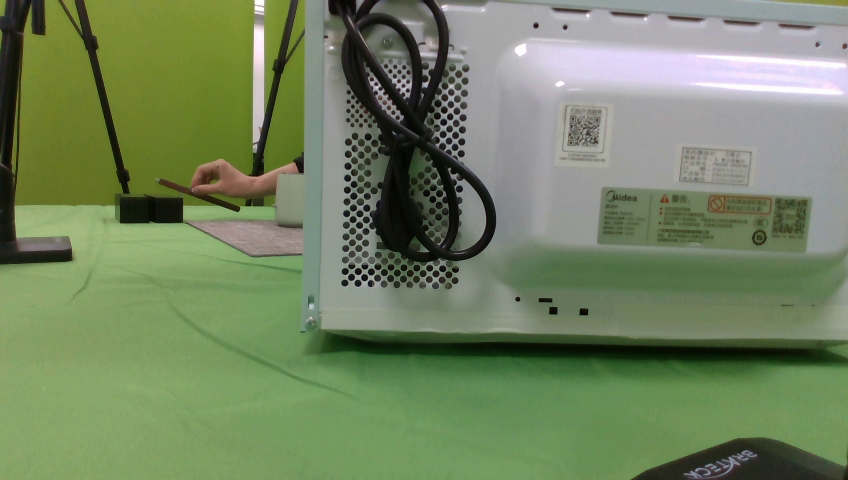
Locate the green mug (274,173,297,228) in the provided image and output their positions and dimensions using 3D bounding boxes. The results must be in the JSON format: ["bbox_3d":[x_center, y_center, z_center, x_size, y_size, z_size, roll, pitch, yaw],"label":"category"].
[{"bbox_3d":[-0.242,-0.081,1.221,0.092,0.105,0.126,8,9,40],"label":"green mug"}]

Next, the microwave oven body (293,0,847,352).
[{"bbox_3d":[0.122,-0.055,0.550,0.442,0.260,0.325,3,7,-5],"label":"microwave oven body"}]

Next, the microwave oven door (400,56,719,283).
[{"bbox_3d":[0.155,-0.077,0.697,0.356,0.243,0.039,2,8,-5],"label":"microwave oven door"}]

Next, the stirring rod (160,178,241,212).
[{"bbox_3d":[-0.470,-0.093,1.280,0.177,0.014,0.006,23,1,-38],"label":"stirring rod"}]

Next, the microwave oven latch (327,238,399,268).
[{"bbox_3d":[-0.069,0.015,0.694,0.079,0.029,0.030,3,7,-3],"label":"microwave oven latch"}]
